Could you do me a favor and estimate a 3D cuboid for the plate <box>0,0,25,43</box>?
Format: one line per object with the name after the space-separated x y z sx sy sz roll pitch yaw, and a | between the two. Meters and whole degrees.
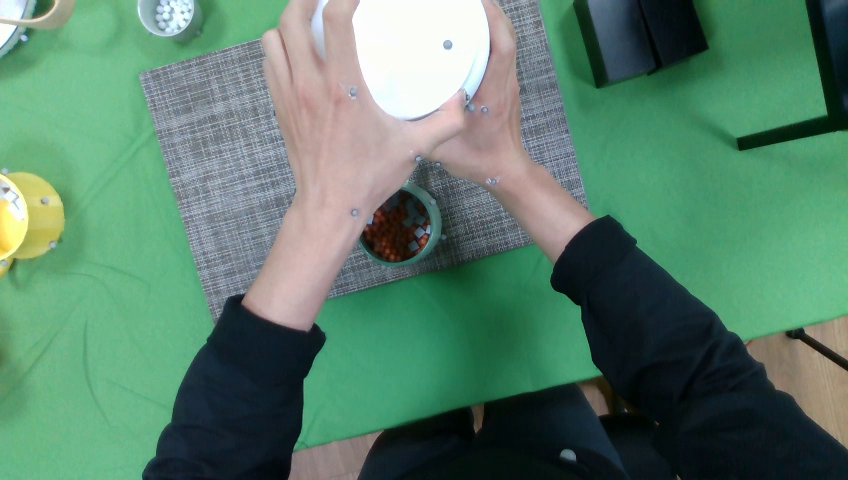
-0.530 -0.293 0.660 0.208 0.039 0.208 0 95 1 | plate

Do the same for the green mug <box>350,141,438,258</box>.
-0.031 -0.041 0.638 0.092 0.105 0.125 1 94 1 | green mug

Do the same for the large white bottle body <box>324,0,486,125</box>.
-0.015 -0.162 0.496 0.130 0.184 0.131 1 103 6 | large white bottle body

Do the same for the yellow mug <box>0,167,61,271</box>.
-0.474 -0.016 0.669 0.100 0.064 0.131 17 96 -1 | yellow mug

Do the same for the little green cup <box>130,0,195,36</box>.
-0.281 -0.254 0.660 0.061 0.038 0.061 0 96 0 | little green cup

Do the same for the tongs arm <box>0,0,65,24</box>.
-0.569 -0.274 0.630 0.385 0.026 0.051 13 92 1 | tongs arm

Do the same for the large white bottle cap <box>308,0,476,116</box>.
-0.022 -0.143 0.415 0.115 0.018 0.115 1 105 6 | large white bottle cap
